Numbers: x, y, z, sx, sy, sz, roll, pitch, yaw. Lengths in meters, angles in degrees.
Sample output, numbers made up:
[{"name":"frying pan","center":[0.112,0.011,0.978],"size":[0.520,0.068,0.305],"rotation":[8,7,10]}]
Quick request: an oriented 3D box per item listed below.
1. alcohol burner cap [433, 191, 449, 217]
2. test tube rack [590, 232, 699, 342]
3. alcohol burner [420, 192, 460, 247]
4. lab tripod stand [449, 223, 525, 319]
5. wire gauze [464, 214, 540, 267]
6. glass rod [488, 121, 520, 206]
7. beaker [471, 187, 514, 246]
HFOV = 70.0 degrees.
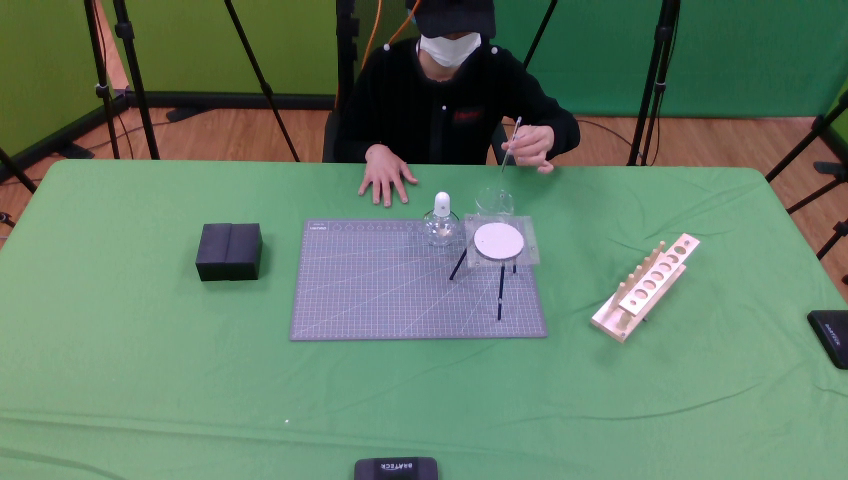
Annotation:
[{"name":"alcohol burner cap","center":[0.033,-0.070,1.150],"size":[0.034,0.048,0.033],"rotation":[0,45,0]},{"name":"test tube rack","center":[0.407,0.074,1.112],"size":[0.066,0.085,0.242],"rotation":[35,53,26]},{"name":"alcohol burner","center":[0.032,-0.045,1.176],"size":[0.078,0.120,0.077],"rotation":[2,44,-1]},{"name":"lab tripod stand","center":[0.120,0.046,1.080],"size":[0.148,0.132,0.147],"rotation":[1,47,-1]},{"name":"wire gauze","center":[0.131,-0.002,1.034],"size":[0.121,0.011,0.124],"rotation":[1,45,-2]},{"name":"glass rod","center":[0.144,-0.135,1.107],"size":[0.008,0.200,0.008],"rotation":[7,46,-7]},{"name":"beaker","center":[0.134,-0.042,1.190],"size":[0.083,0.101,0.074],"rotation":[34,53,25]}]
